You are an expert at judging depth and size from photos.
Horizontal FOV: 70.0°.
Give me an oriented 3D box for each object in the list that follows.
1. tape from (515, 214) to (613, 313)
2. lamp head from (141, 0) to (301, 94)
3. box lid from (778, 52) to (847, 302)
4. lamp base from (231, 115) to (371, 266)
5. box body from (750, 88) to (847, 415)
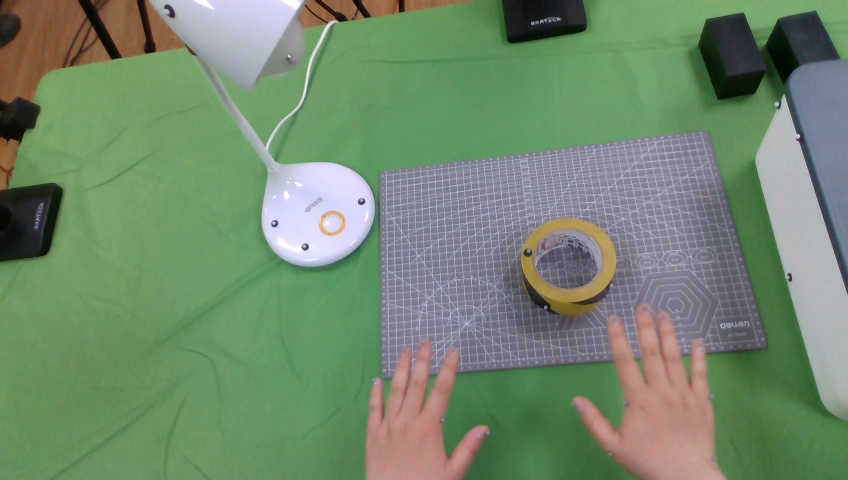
[{"bbox_3d":[0.170,0.028,0.739,0.117,0.053,0.116,-3,65,8],"label":"tape"},{"bbox_3d":[-0.173,-0.199,0.504,0.123,0.112,0.112,29,71,-15],"label":"lamp head"},{"bbox_3d":[0.513,-0.040,0.570,0.263,0.015,0.368,-5,66,7],"label":"box lid"},{"bbox_3d":[-0.175,-0.076,0.777,0.178,0.182,0.160,31,74,24],"label":"lamp base"},{"bbox_3d":[0.525,-0.008,0.635,0.254,0.162,0.361,-6,65,7],"label":"box body"}]
